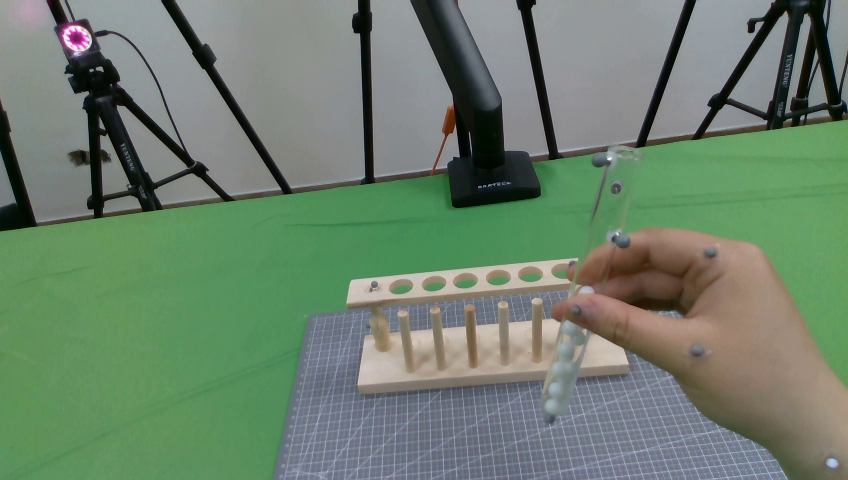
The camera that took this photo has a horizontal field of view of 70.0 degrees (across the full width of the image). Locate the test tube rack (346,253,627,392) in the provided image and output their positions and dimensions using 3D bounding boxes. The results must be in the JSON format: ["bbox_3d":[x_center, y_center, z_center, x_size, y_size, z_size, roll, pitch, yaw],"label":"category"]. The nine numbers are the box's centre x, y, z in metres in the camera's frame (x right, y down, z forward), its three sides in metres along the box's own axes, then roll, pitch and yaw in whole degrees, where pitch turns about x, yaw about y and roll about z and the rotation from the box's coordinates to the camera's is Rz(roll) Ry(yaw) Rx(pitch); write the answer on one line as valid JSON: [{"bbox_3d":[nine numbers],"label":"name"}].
[{"bbox_3d":[0.055,0.076,0.550,0.242,0.086,0.066,-6,35,5],"label":"test tube rack"}]

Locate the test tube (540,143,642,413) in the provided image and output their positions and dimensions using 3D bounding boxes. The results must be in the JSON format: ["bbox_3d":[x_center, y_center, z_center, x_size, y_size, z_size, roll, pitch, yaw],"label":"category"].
[{"bbox_3d":[0.078,0.026,0.293,0.017,0.151,0.017,6,28,-3],"label":"test tube"}]
